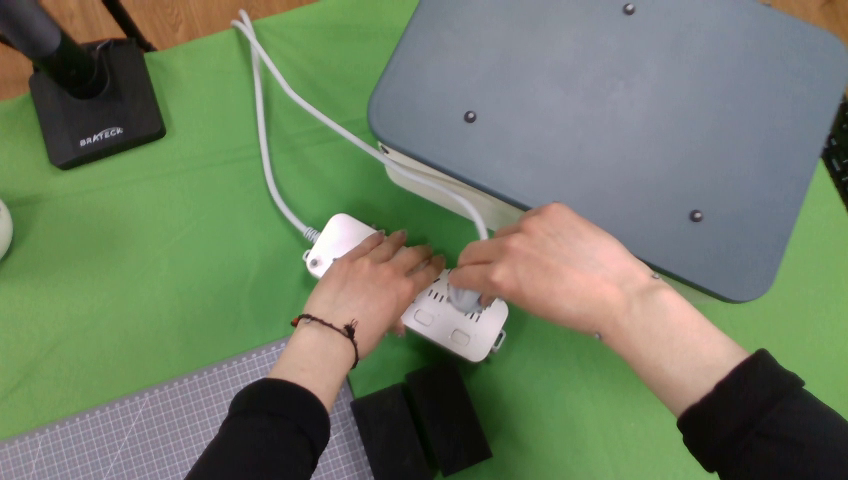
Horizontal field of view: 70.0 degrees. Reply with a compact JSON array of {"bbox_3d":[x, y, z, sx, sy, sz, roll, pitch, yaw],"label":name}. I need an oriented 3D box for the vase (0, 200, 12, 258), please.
[{"bbox_3d":[-0.464,-0.026,0.535,0.098,0.200,0.097,1,77,-3],"label":"vase"}]

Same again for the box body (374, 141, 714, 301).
[{"bbox_3d":[0.156,-0.118,0.597,0.364,0.161,0.253,24,79,2],"label":"box body"}]

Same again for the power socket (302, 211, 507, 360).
[{"bbox_3d":[-0.019,0.046,0.625,0.226,0.033,0.072,29,79,3],"label":"power socket"}]

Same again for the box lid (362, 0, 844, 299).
[{"bbox_3d":[0.160,-0.132,0.524,0.371,0.015,0.262,24,80,2],"label":"box lid"}]

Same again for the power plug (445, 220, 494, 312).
[{"bbox_3d":[0.045,0.026,0.505,0.035,0.053,0.072,34,70,-2],"label":"power plug"}]

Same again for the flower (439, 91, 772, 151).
[{"bbox_3d":[0.186,-0.144,0.674,0.360,0.038,0.044,12,69,19],"label":"flower"}]
